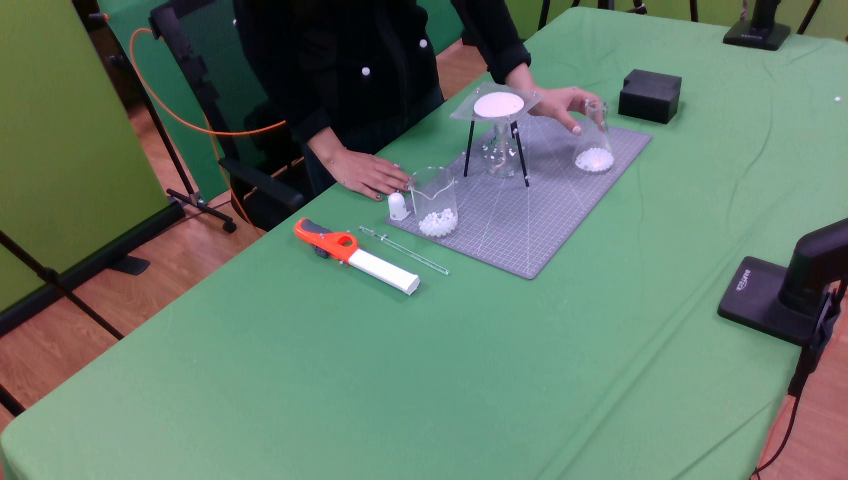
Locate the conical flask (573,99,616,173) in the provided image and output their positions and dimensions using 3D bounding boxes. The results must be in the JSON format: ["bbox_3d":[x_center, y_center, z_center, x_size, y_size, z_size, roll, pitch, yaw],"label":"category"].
[{"bbox_3d":[0.301,-0.184,1.061,0.075,0.122,0.075,-5,40,5],"label":"conical flask"}]

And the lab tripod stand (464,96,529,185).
[{"bbox_3d":[0.138,-0.182,1.082,0.148,0.132,0.147,-6,38,5],"label":"lab tripod stand"}]

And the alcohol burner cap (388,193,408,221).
[{"bbox_3d":[-0.047,-0.059,1.043,0.034,0.048,0.033,-6,40,5],"label":"alcohol burner cap"}]

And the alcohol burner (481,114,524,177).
[{"bbox_3d":[0.141,-0.174,1.087,0.078,0.119,0.077,-4,40,4],"label":"alcohol burner"}]

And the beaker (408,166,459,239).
[{"bbox_3d":[0.018,-0.057,0.984,0.074,0.101,0.083,-6,41,5],"label":"beaker"}]

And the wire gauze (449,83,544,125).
[{"bbox_3d":[0.126,-0.233,1.039,0.120,0.011,0.125,18,47,29],"label":"wire gauze"}]

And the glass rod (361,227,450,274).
[{"bbox_3d":[-0.034,0.015,0.985,0.198,0.008,0.008,26,52,34],"label":"glass rod"}]

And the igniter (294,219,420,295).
[{"bbox_3d":[-0.118,0.022,0.977,0.274,0.025,0.057,24,60,34],"label":"igniter"}]
